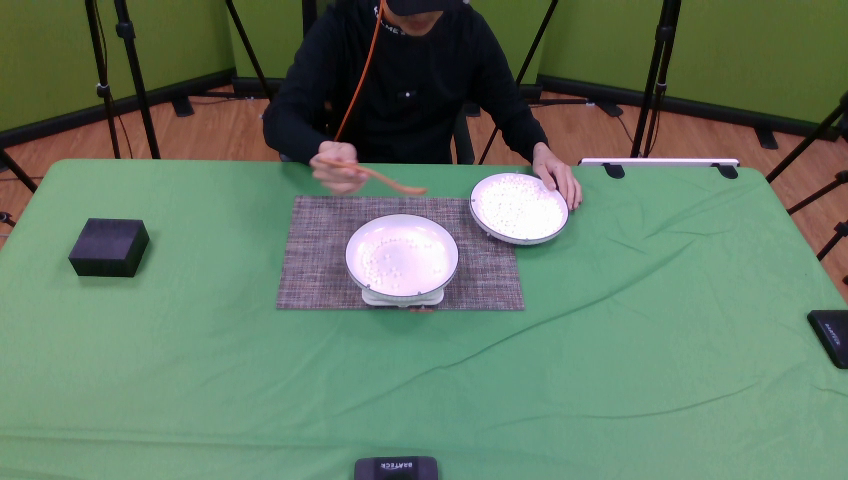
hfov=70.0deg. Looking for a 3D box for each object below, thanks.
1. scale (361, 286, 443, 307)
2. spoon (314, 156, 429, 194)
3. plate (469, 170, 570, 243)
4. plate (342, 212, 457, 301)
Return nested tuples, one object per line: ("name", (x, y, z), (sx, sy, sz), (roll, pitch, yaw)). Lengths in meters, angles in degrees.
("scale", (-0.042, 0.040, 1.143), (0.149, 0.032, 0.199), (0, 46, -4))
("spoon", (-0.084, -0.108, 0.992), (0.194, 0.021, 0.041), (19, 12, -15))
("plate", (0.196, -0.066, 1.259), (0.209, 0.038, 0.208), (3, 46, -3))
("plate", (-0.044, 0.033, 1.105), (0.208, 0.039, 0.206), (2, 46, -2))
